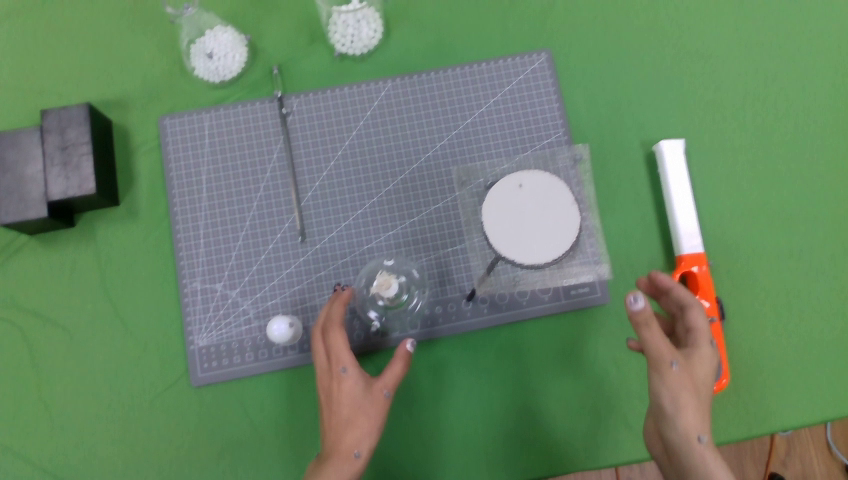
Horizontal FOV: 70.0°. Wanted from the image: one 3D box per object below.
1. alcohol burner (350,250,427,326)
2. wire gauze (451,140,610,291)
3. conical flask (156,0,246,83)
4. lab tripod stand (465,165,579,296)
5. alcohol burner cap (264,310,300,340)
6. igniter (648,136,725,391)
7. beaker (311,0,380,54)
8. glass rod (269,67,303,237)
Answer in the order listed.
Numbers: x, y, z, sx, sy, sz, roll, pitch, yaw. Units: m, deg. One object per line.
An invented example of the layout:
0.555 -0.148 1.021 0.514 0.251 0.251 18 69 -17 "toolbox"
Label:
-0.036 0.046 0.595 0.078 0.119 0.077 0 82 -1 "alcohol burner"
0.093 -0.021 0.531 0.125 0.011 0.121 -8 82 -2 "wire gauze"
-0.238 -0.223 0.634 0.075 0.122 0.075 0 79 -1 "conical flask"
0.091 -0.008 0.597 0.148 0.132 0.148 0 82 -1 "lab tripod stand"
-0.148 0.086 0.621 0.034 0.048 0.033 0 80 -1 "alcohol burner cap"
0.282 0.021 0.653 0.057 0.025 0.275 -5 80 -13 "igniter"
-0.085 -0.257 0.656 0.074 0.100 0.083 -8 79 -3 "beaker"
-0.153 -0.100 0.669 0.008 0.008 0.199 -11 80 -4 "glass rod"
